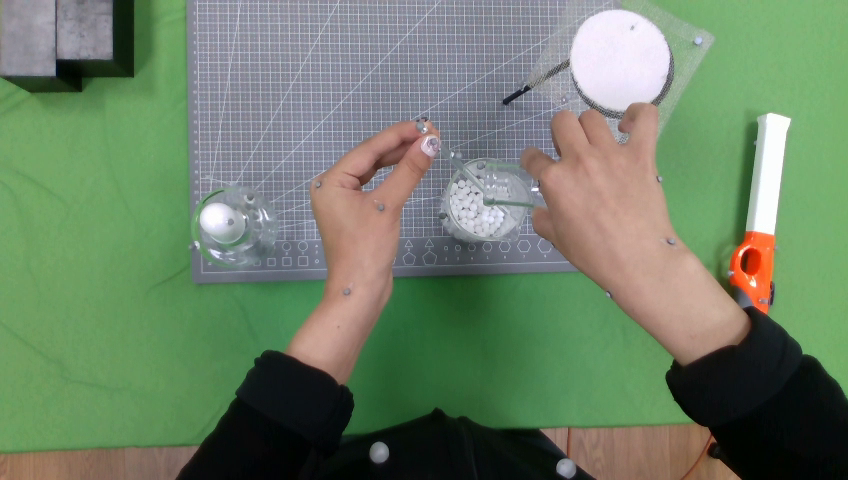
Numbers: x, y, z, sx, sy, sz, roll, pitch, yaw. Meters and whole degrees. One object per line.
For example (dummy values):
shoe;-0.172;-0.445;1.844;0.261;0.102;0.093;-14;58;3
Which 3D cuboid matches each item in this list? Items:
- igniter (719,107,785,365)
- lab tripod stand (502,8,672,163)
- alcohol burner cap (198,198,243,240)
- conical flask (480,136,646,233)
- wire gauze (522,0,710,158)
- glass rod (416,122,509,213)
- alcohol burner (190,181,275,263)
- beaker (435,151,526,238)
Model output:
igniter;0.351;-0.003;0.646;0.057;0.025;0.276;9;88;-15
lab tripod stand;0.158;-0.148;0.576;0.148;0.131;0.148;0;89;-4
alcohol burner cap;-0.175;-0.020;0.515;0.034;0.048;0.033;1;81;-7
conical flask;0.106;-0.046;0.477;0.122;0.075;0.075;4;87;6
wire gauze;0.161;-0.153;0.510;0.125;0.011;0.121;31;88;-3
glass rod;0.038;-0.053;0.502;0.008;0.201;0.008;-7;72;24
alcohol burner;-0.178;-0.017;0.551;0.078;0.119;0.078;0;89;-4
beaker;0.051;-0.037;0.580;0.074;0.100;0.084;-38;92;-5
